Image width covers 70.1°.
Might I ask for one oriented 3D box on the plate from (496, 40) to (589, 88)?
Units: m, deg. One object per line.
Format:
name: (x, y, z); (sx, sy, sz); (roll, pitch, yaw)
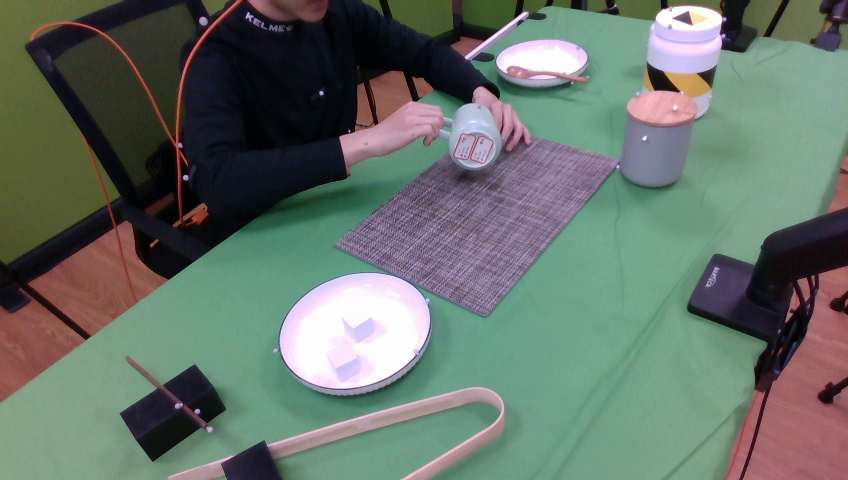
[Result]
plate: (0.269, -0.398, 1.381); (0.209, 0.038, 0.208); (-4, 41, 4)

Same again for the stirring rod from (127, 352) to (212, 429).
stirring rod: (-0.311, 0.180, 0.731); (0.175, 0.014, 0.006); (25, 53, 31)

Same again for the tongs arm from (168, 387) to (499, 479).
tongs arm: (-0.100, 0.230, 0.711); (0.388, 0.028, 0.028); (-13, 32, -7)

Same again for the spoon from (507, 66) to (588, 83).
spoon: (0.265, -0.357, 1.311); (0.192, 0.022, 0.042); (18, 47, 38)

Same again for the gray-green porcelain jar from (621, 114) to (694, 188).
gray-green porcelain jar: (0.390, -0.161, 1.020); (0.106, 0.127, 0.105); (-4, 41, 4)

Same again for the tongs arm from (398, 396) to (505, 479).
tongs arm: (-0.071, 0.272, 0.652); (0.386, 0.026, 0.050); (-21, 37, -17)

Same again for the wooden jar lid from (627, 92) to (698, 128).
wooden jar lid: (0.384, -0.207, 0.980); (0.108, 0.021, 0.108); (-6, 39, 5)

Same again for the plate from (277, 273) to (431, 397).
plate: (-0.091, 0.129, 0.821); (0.207, 0.039, 0.206); (-4, 40, 4)

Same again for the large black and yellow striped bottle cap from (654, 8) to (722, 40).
large black and yellow striped bottle cap: (0.483, -0.397, 1.108); (0.115, 0.019, 0.114); (-3, 41, 3)

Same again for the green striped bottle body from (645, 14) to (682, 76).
green striped bottle body: (0.520, -0.424, 1.312); (0.063, 0.120, 0.063); (-4, 40, 4)

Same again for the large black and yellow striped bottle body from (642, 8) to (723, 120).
large black and yellow striped bottle body: (0.493, -0.334, 1.161); (0.131, 0.185, 0.130); (-4, 41, 4)

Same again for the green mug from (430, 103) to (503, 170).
green mug: (0.071, -0.185, 1.050); (0.126, 0.092, 0.104); (13, 34, -9)

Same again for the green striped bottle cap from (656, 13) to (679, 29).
green striped bottle cap: (0.515, -0.463, 1.278); (0.044, 0.020, 0.044); (-6, 42, 6)

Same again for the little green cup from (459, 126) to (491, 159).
little green cup: (0.098, -0.184, 1.150); (0.061, 0.039, 0.061); (-4, 45, 5)
